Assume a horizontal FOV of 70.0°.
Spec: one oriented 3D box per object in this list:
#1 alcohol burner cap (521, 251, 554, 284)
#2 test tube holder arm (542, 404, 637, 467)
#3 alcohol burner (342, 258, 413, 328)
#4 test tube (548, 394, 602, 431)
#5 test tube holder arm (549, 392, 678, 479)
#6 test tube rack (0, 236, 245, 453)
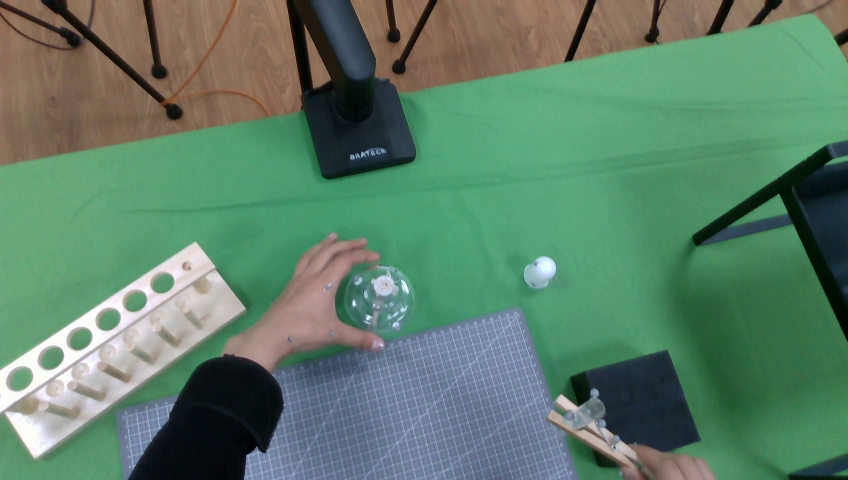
[{"bbox_3d":[0.136,0.031,0.711,0.034,0.048,0.033,2,71,-5],"label":"alcohol burner cap"},{"bbox_3d":[0.143,0.168,0.519,0.087,0.015,0.010,29,79,9],"label":"test tube holder arm"},{"bbox_3d":[-0.048,0.052,0.641,0.078,0.119,0.077,3,72,-7],"label":"alcohol burner"},{"bbox_3d":[0.125,0.149,0.516,0.017,0.151,0.017,0,68,1],"label":"test tube"},{"bbox_3d":[0.183,0.187,0.513,0.178,0.015,0.013,34,80,10],"label":"test tube holder arm"},{"bbox_3d":[-0.306,0.103,0.602,0.242,0.085,0.066,-37,79,-17],"label":"test tube rack"}]
